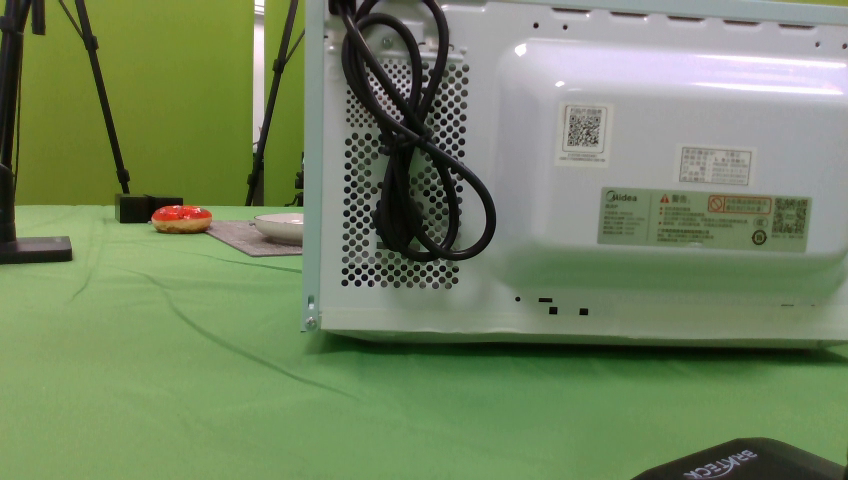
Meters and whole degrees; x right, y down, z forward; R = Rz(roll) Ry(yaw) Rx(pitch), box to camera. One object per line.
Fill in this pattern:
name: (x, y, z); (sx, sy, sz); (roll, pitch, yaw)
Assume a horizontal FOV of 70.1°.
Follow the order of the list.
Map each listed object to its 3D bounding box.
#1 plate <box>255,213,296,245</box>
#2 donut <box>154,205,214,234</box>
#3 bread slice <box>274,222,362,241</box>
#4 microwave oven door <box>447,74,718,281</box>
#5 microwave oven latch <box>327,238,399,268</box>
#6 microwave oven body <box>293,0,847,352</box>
plate: (-0.177, -0.018, 1.017); (0.208, 0.039, 0.207); (2, 7, 0)
donut: (-0.426, -0.037, 1.075); (0.099, 0.048, 0.099); (2, 12, 0)
bread slice: (-0.181, -0.016, 1.011); (0.104, 0.019, 0.132); (6, 8, 27)
microwave oven door: (0.190, -0.090, 0.811); (0.354, 0.243, 0.039); (8, 10, 36)
microwave oven latch: (-0.069, 0.015, 0.694); (0.079, 0.029, 0.030); (3, 7, -3)
microwave oven body: (0.122, -0.055, 0.550); (0.442, 0.260, 0.325); (3, 7, -5)
